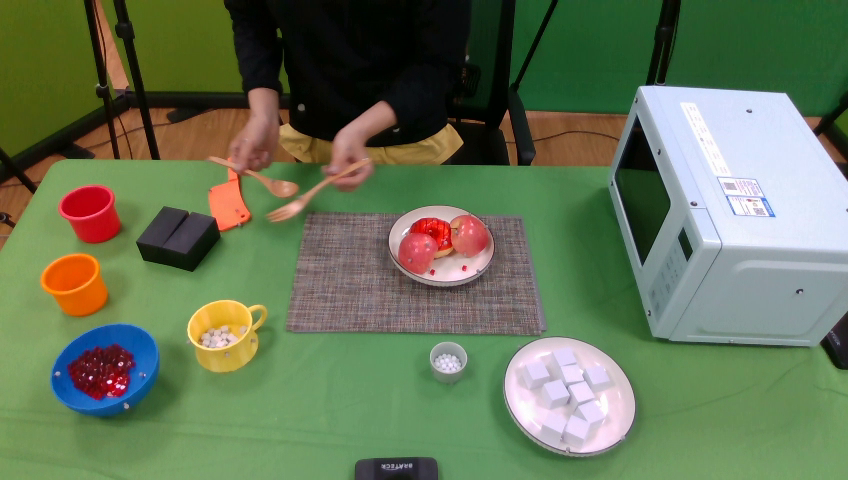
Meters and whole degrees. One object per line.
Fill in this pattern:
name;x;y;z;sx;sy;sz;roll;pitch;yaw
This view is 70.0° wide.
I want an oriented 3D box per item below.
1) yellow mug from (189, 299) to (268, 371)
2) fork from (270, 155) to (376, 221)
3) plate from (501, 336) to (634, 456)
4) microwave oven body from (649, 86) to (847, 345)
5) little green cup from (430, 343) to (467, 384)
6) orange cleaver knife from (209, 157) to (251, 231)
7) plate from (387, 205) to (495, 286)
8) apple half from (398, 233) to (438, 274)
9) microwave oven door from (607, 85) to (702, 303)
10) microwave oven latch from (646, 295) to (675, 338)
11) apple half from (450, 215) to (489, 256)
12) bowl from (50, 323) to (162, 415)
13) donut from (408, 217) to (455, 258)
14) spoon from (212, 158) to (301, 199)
yellow mug;-0.316;0.148;1.002;0.131;0.064;0.099;-33;56;-31
fork;-0.162;-0.088;1.003;0.207;0.019;0.028;-37;52;-19
plate;0.225;0.248;0.964;0.208;0.039;0.206;2;46;-2
microwave oven body;0.568;-0.053;1.118;0.326;0.261;0.439;2;45;-1
little green cup;0.039;0.203;0.994;0.061;0.039;0.061;2;46;-2
orange cleaver knife;-0.409;-0.099;1.265;0.077;0.012;0.210;-15;50;-9
plate;0.033;0.014;1.171;0.209;0.038;0.208;2;46;-2
apple half;-0.016;0.022;1.123;0.081;0.033;0.081;-2;83;14
microwave oven door;0.423;-0.094;1.140;0.039;0.245;0.353;2;46;-1
microwave oven latch;0.412;0.134;1.061;0.030;0.029;0.078;4;45;1
apple half;0.092;-0.013;1.158;0.075;0.053;0.080;34;39;-28
bowl;-0.472;0.209;0.924;0.151;0.077;0.150;3;45;-2
donut;0.019;-0.006;1.174;0.099;0.048;0.098;4;42;-3
spoon;-0.320;-0.122;1.151;0.193;0.022;0.041;24;59;10
